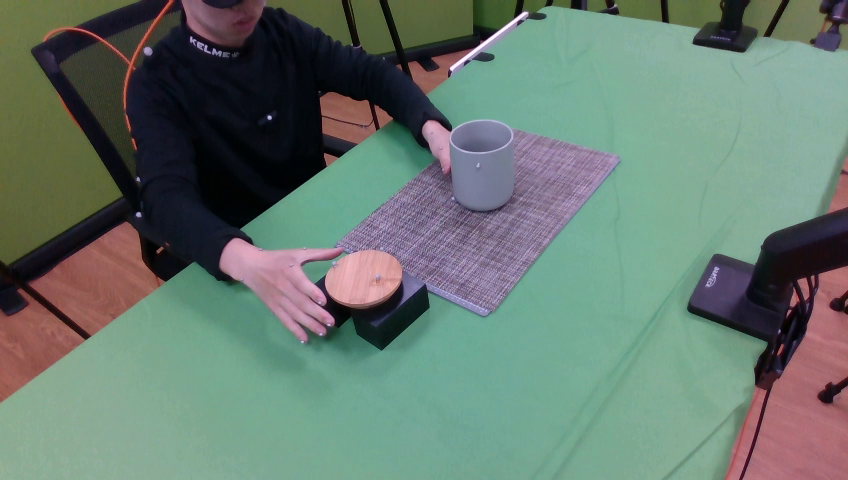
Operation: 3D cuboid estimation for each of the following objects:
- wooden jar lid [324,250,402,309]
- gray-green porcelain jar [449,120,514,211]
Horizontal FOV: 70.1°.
[{"bbox_3d":[-0.083,0.057,0.839,0.108,0.021,0.108,-4,40,4],"label":"wooden jar lid"},{"bbox_3d":[0.097,-0.120,1.009,0.106,0.127,0.105,-4,41,4],"label":"gray-green porcelain jar"}]
